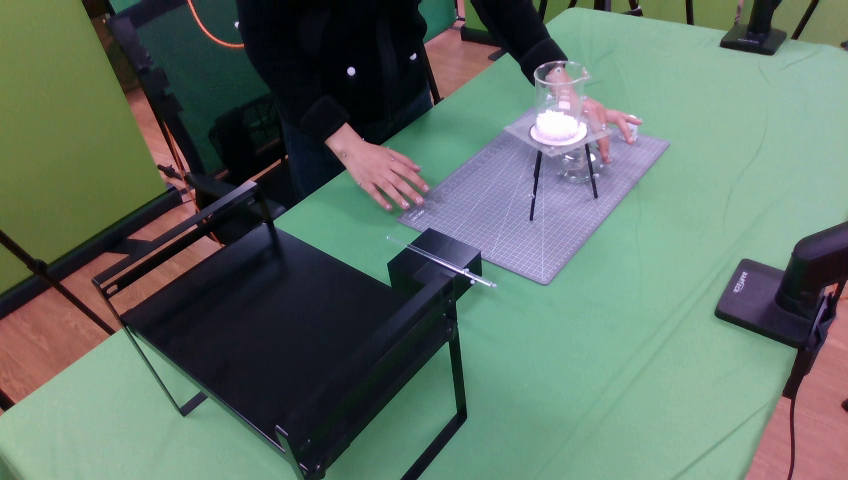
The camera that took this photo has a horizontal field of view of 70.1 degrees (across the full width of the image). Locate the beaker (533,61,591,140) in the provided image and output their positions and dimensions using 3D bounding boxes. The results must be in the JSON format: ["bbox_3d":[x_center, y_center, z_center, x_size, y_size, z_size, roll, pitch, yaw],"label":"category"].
[{"bbox_3d":[0.208,-0.211,0.922,0.083,0.101,0.074,5,44,14],"label":"beaker"}]

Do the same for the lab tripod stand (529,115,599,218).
[{"bbox_3d":[0.217,-0.123,0.995,0.148,0.132,0.147,-4,42,4],"label":"lab tripod stand"}]

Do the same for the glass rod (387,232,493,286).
[{"bbox_3d":[0.018,0.026,0.878,0.198,0.008,0.008,25,50,33],"label":"glass rod"}]

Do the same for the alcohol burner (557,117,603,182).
[{"bbox_3d":[0.270,-0.161,1.045,0.078,0.119,0.077,-6,41,6],"label":"alcohol burner"}]

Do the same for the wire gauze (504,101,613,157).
[{"bbox_3d":[0.211,-0.175,0.956,0.125,0.011,0.120,-26,43,-17],"label":"wire gauze"}]

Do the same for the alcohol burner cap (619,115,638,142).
[{"bbox_3d":[0.388,-0.214,1.145,0.034,0.048,0.033,-3,41,3],"label":"alcohol burner cap"}]
